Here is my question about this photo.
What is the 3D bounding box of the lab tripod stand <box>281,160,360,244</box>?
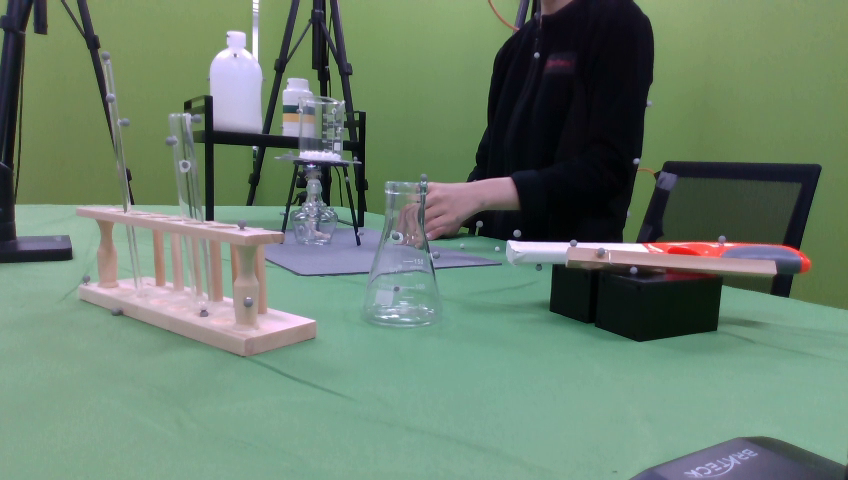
[{"bbox_3d":[-0.170,-0.063,0.983,0.148,0.131,0.148,1,6,0],"label":"lab tripod stand"}]

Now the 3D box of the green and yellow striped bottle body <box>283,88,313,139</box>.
[{"bbox_3d":[-0.266,-0.275,1.275,0.063,0.119,0.063,3,7,0],"label":"green and yellow striped bottle body"}]

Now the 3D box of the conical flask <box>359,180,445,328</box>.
[{"bbox_3d":[-0.017,0.010,0.522,0.075,0.122,0.075,2,8,0],"label":"conical flask"}]

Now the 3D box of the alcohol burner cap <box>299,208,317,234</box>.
[{"bbox_3d":[-0.213,-0.035,1.110,0.034,0.048,0.034,2,8,0],"label":"alcohol burner cap"}]

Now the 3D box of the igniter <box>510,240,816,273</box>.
[{"bbox_3d":[0.220,0.015,0.565,0.277,0.025,0.057,2,16,0],"label":"igniter"}]

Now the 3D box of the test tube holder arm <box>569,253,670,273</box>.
[{"bbox_3d":[0.172,0.019,0.532,0.088,0.015,0.010,3,-23,3],"label":"test tube holder arm"}]

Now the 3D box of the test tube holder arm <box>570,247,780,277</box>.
[{"bbox_3d":[0.217,0.019,0.525,0.178,0.015,0.013,3,-23,3],"label":"test tube holder arm"}]

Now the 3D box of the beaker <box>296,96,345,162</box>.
[{"bbox_3d":[-0.163,-0.175,0.966,0.083,0.100,0.074,7,8,34],"label":"beaker"}]

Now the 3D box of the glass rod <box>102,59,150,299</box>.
[{"bbox_3d":[-0.244,-0.045,0.496,0.008,0.199,0.008,-3,13,1],"label":"glass rod"}]

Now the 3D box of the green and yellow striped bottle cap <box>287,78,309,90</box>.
[{"bbox_3d":[-0.265,-0.326,1.268,0.045,0.020,0.045,4,6,0],"label":"green and yellow striped bottle cap"}]

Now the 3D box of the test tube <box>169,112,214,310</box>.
[{"bbox_3d":[-0.175,-0.020,0.455,0.017,0.150,0.017,-3,9,1],"label":"test tube"}]

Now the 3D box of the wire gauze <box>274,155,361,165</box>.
[{"bbox_3d":[-0.174,-0.129,0.978,0.125,0.011,0.121,-2,6,-19],"label":"wire gauze"}]

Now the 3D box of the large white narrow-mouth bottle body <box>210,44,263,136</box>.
[{"bbox_3d":[-0.369,-0.305,1.194,0.102,0.194,0.102,3,8,0],"label":"large white narrow-mouth bottle body"}]

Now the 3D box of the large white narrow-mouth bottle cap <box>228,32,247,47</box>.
[{"bbox_3d":[-0.364,-0.390,1.181,0.038,0.024,0.037,3,8,0],"label":"large white narrow-mouth bottle cap"}]

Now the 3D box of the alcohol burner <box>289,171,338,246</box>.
[{"bbox_3d":[-0.177,-0.051,0.968,0.078,0.119,0.078,0,6,0],"label":"alcohol burner"}]

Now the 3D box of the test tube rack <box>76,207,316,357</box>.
[{"bbox_3d":[-0.196,0.023,0.499,0.241,0.085,0.067,8,9,36],"label":"test tube rack"}]
